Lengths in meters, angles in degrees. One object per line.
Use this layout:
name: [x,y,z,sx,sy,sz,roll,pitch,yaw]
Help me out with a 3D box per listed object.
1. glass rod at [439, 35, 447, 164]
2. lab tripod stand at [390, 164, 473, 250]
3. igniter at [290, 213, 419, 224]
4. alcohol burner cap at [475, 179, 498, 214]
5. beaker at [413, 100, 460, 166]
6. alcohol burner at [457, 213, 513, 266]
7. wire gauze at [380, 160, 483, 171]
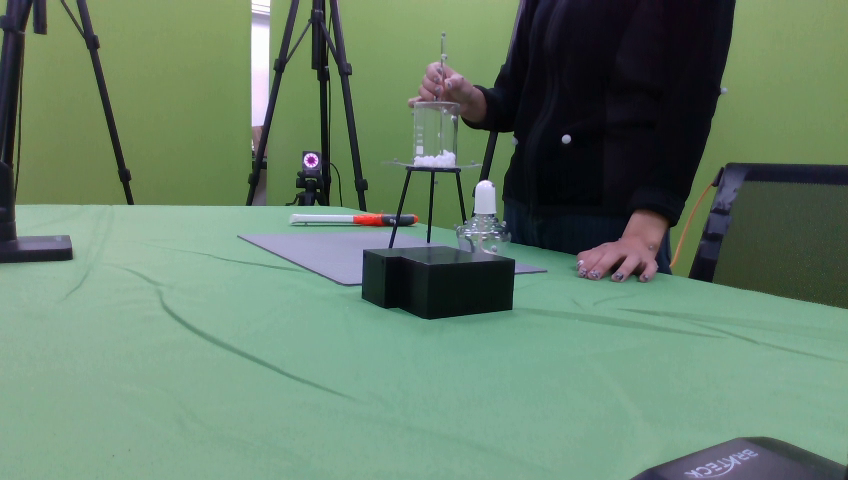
glass rod: [0.030,-0.222,0.962,0.008,0.199,0.008,1,10,0]
lab tripod stand: [0.012,-0.054,0.960,0.148,0.131,0.148,2,9,0]
igniter: [-0.143,-0.046,1.288,0.278,0.025,0.057,-1,-3,-24]
alcohol burner cap: [0.086,-0.061,0.833,0.034,0.048,0.034,-1,11,0]
beaker: [0.020,-0.167,0.953,0.073,0.100,0.084,6,9,26]
alcohol burner: [0.084,-0.025,0.837,0.078,0.119,0.078,0,8,0]
wire gauze: [0.011,-0.119,0.951,0.122,0.011,0.124,-5,12,-32]
